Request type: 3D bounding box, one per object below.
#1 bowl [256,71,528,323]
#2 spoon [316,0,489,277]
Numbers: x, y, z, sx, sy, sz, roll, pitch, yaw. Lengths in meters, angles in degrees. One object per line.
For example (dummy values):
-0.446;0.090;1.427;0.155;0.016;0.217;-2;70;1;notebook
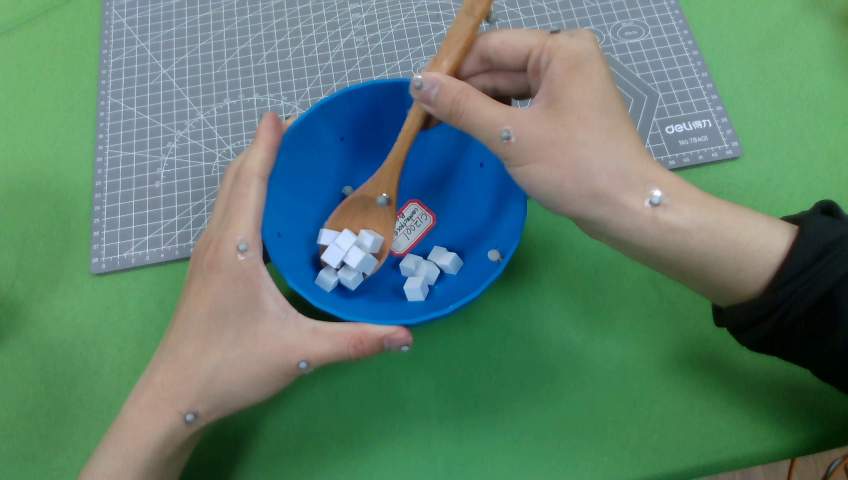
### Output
-0.015;-0.016;0.369;0.151;0.077;0.150;-1;71;3;bowl
-0.007;-0.060;0.316;0.041;0.021;0.194;34;117;6;spoon
